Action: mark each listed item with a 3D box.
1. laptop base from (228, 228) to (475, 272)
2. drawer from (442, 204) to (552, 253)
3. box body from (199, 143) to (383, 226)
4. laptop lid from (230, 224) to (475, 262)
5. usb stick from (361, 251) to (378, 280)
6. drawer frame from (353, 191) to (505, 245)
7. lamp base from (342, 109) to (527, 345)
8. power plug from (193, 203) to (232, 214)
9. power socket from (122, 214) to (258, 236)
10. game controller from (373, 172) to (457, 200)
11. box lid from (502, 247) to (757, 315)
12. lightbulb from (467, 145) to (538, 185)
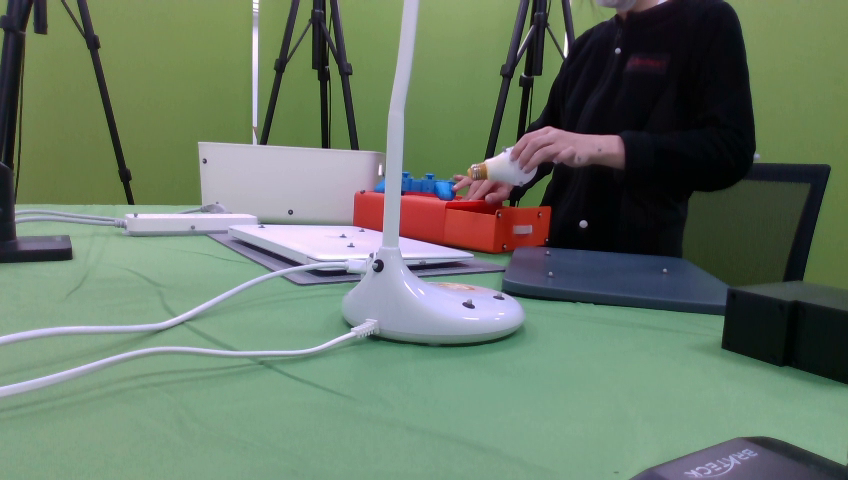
[{"bbox_3d":[-0.122,0.011,0.889,0.237,0.023,0.352,2,6,-35],"label":"laptop base"},{"bbox_3d":[0.092,-0.032,1.084,0.210,0.073,0.195,9,10,37],"label":"drawer"},{"bbox_3d":[-0.276,-0.124,1.334,0.364,0.160,0.254,3,7,1],"label":"box body"},{"bbox_3d":[-0.120,0.000,0.889,0.243,0.013,0.355,1,7,-33],"label":"laptop lid"},{"bbox_3d":[-0.051,0.033,0.656,0.027,0.021,0.059,4,-27,-21],"label":"usb stick"},{"bbox_3d":[0.011,-0.048,1.143,0.212,0.082,0.203,9,9,35],"label":"drawer frame"},{"bbox_3d":[0.006,-0.015,0.505,0.160,0.180,0.180,6,11,29],"label":"lamp base"},{"bbox_3d":[-0.393,-0.042,1.139,0.072,0.052,0.035,-14,2,31],"label":"power plug"},{"bbox_3d":[-0.398,-0.028,1.049,0.228,0.032,0.072,-3,8,-34],"label":"power socket"},{"bbox_3d":[-0.011,-0.101,1.150,0.155,0.051,0.097,6,4,12],"label":"game controller"},{"bbox_3d":[0.244,0.044,0.793,0.263,0.015,0.372,4,7,11],"label":"box lid"},{"bbox_3d":[0.117,-0.107,0.904,0.108,0.059,0.059,-10,8,-3],"label":"lightbulb"}]
